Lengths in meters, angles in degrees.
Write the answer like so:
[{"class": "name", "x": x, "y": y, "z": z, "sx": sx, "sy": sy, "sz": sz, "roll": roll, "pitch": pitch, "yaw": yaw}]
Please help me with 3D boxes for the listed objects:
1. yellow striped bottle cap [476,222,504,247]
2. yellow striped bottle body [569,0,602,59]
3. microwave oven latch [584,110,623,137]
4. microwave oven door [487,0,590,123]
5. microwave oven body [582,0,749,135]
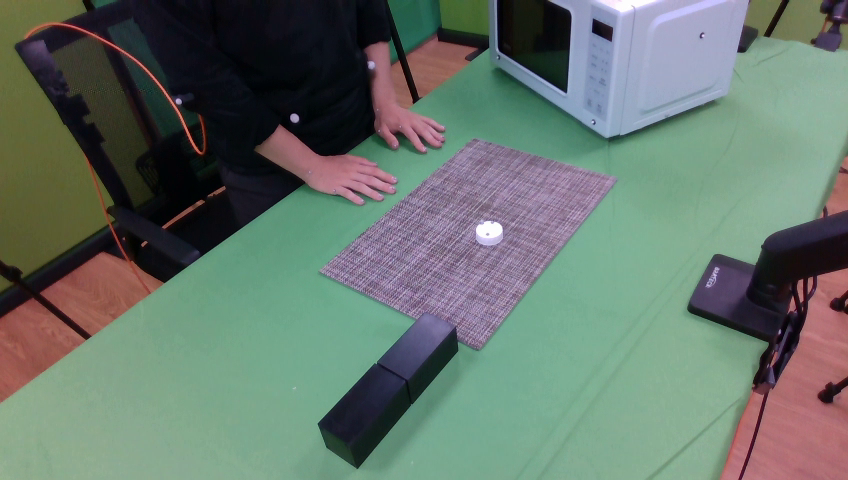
[{"class": "yellow striped bottle cap", "x": 0.105, "y": -0.010, "z": 0.966, "sx": 0.044, "sy": 0.019, "sz": 0.044, "roll": -3, "pitch": 39, "yaw": 3}, {"class": "yellow striped bottle body", "x": 0.338, "y": -0.448, "z": 1.268, "sx": 0.063, "sy": 0.121, "sz": 0.062, "roll": -4, "pitch": 43, "yaw": 4}, {"class": "microwave oven latch", "x": 0.337, "y": -0.222, "z": 1.142, "sx": 0.030, "sy": 0.029, "sz": 0.078, "roll": -21, "pitch": 42, "yaw": -14}, {"class": "microwave oven door", "x": 0.232, "y": -0.420, "z": 1.230, "sx": 0.039, "sy": 0.245, "sz": 0.352, "roll": -22, "pitch": 43, "yaw": -16}, {"class": "microwave oven body", "x": 0.382, "y": -0.444, "z": 1.246, "sx": 0.327, "sy": 0.261, "sz": 0.437, "roll": -22, "pitch": 42, "yaw": -16}]
